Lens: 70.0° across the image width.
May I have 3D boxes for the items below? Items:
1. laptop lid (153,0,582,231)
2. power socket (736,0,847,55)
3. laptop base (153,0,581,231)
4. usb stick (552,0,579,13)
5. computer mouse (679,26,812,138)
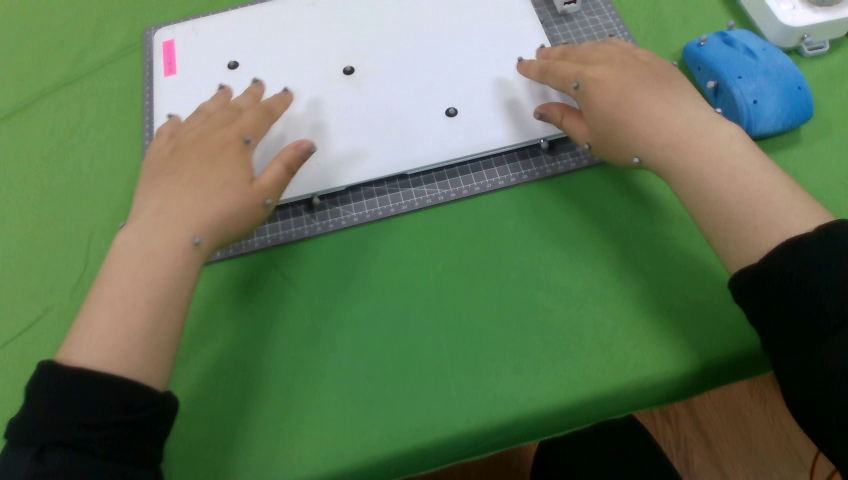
[{"bbox_3d":[-0.066,-0.146,0.534,0.357,0.013,0.239,-13,62,-1],"label":"laptop lid"},{"bbox_3d":[0.315,-0.264,0.566,0.072,0.033,0.224,-12,60,0],"label":"power socket"},{"bbox_3d":[-0.065,-0.142,0.546,0.354,0.023,0.233,-14,62,-2],"label":"laptop base"},{"bbox_3d":[0.129,-0.246,0.576,0.021,0.027,0.058,-13,57,2],"label":"usb stick"},{"bbox_3d":[0.261,-0.136,0.496,0.063,0.041,0.116,-15,55,0],"label":"computer mouse"}]
